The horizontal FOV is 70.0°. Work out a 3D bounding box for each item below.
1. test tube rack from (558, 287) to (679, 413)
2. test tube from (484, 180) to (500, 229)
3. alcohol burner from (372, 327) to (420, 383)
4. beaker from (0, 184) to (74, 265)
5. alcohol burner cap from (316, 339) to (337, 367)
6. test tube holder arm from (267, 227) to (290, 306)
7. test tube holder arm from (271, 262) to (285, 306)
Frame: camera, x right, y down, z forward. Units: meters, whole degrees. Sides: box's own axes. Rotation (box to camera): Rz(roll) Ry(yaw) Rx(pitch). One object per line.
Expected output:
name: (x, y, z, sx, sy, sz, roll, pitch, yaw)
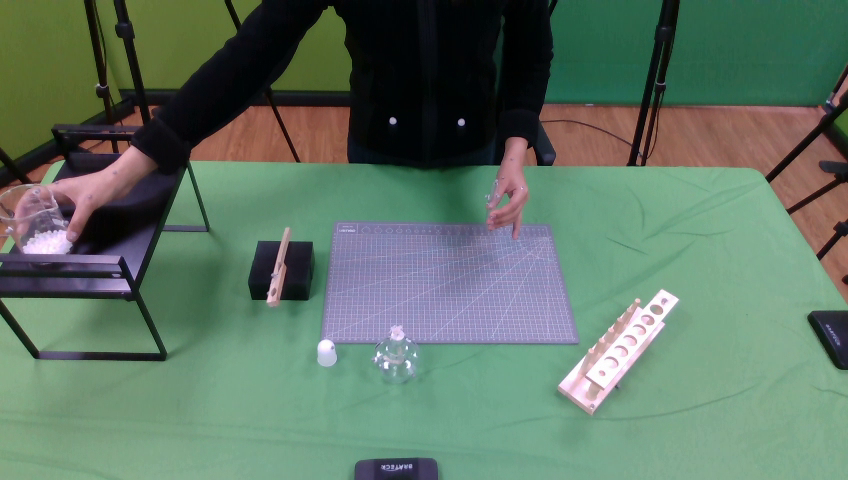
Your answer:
test tube rack: (0.326, 0.170, 1.009, 0.066, 0.085, 0.242, 36, 54, 26)
test tube: (0.119, -0.059, 1.070, 0.017, 0.151, 0.017, 0, 63, 1)
alcohol burner: (-0.045, 0.175, 0.961, 0.078, 0.120, 0.077, 1, 47, -1)
beaker: (-0.554, -0.020, 0.871, 0.084, 0.101, 0.073, 4, 46, -1)
alcohol burner cap: (-0.161, 0.182, 0.995, 0.034, 0.048, 0.033, 1, 47, -1)
test tube holder arm: (-0.256, 0.043, 1.071, 0.013, 0.015, 0.177, -6, 46, 5)
test tube holder arm: (-0.249, 0.074, 1.039, 0.010, 0.015, 0.087, -6, 46, 5)
